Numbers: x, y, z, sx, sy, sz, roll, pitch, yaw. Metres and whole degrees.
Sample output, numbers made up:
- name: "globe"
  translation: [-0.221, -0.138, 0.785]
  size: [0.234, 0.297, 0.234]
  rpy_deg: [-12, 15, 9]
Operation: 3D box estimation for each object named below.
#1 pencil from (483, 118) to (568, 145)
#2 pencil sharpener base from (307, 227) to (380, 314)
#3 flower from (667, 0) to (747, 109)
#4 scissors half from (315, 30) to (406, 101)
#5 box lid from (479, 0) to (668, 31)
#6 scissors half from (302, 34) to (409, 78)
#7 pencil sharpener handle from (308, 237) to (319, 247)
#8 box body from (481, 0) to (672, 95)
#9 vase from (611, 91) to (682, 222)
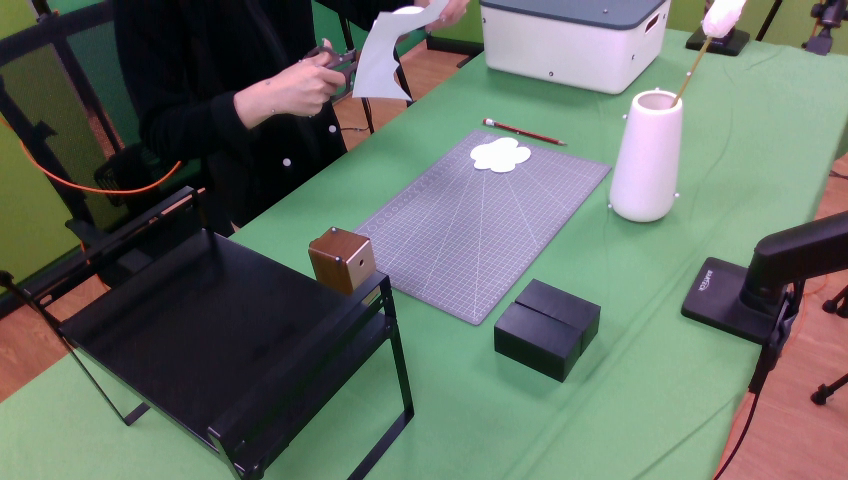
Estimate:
- name: "pencil"
  translation: [0.202, -0.217, 1.212]
  size: [0.192, 0.012, 0.012]
  rpy_deg: [24, 49, 29]
- name: "pencil sharpener base"
  translation: [-0.116, 0.043, 0.875]
  size: [0.076, 0.107, 0.061]
  rpy_deg: [18, 47, 27]
- name: "flower"
  translation: [0.354, -0.187, 0.879]
  size: [0.038, 0.362, 0.044]
  rpy_deg: [30, 48, 14]
- name: "scissors half"
  translation: [-0.095, -0.263, 0.911]
  size: [0.174, 0.040, 0.013]
  rpy_deg: [-32, 18, 25]
- name: "box lid"
  translation: [0.335, -0.536, 1.331]
  size: [0.368, 0.015, 0.264]
  rpy_deg: [23, 49, 30]
- name: "scissors half"
  translation: [-0.105, -0.280, 0.903]
  size: [0.174, 0.040, 0.013]
  rpy_deg: [-10, 31, 15]
- name: "pencil sharpener handle"
  translation: [-0.159, 0.017, 0.892]
  size: [0.030, 0.068, 0.036]
  rpy_deg: [18, 61, 28]
- name: "box body"
  translation: [0.341, -0.480, 1.381]
  size: [0.361, 0.161, 0.255]
  rpy_deg: [22, 48, 30]
- name: "vase"
  translation: [0.348, -0.125, 0.935]
  size: [0.098, 0.201, 0.097]
  rpy_deg: [-3, 40, 3]
